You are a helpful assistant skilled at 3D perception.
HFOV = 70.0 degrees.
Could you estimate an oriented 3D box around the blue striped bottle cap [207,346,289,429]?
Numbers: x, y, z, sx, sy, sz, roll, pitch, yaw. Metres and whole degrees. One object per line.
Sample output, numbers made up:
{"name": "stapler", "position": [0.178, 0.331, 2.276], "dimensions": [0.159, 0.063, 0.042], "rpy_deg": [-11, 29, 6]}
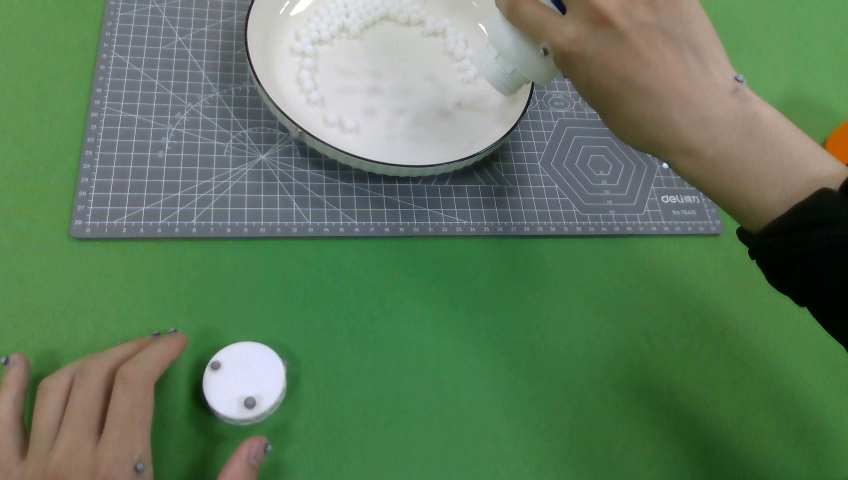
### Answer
{"name": "blue striped bottle cap", "position": [-0.098, 0.082, 0.340], "dimensions": [0.045, 0.021, 0.044], "rpy_deg": [4, 66, -9]}

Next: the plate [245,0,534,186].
{"name": "plate", "position": [-0.023, -0.124, 0.446], "dimensions": [0.208, 0.039, 0.206], "rpy_deg": [6, 62, -10]}

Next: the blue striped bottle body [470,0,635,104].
{"name": "blue striped bottle body", "position": [0.084, -0.145, 0.398], "dimensions": [0.063, 0.121, 0.062], "rpy_deg": [33, 30, -22]}
